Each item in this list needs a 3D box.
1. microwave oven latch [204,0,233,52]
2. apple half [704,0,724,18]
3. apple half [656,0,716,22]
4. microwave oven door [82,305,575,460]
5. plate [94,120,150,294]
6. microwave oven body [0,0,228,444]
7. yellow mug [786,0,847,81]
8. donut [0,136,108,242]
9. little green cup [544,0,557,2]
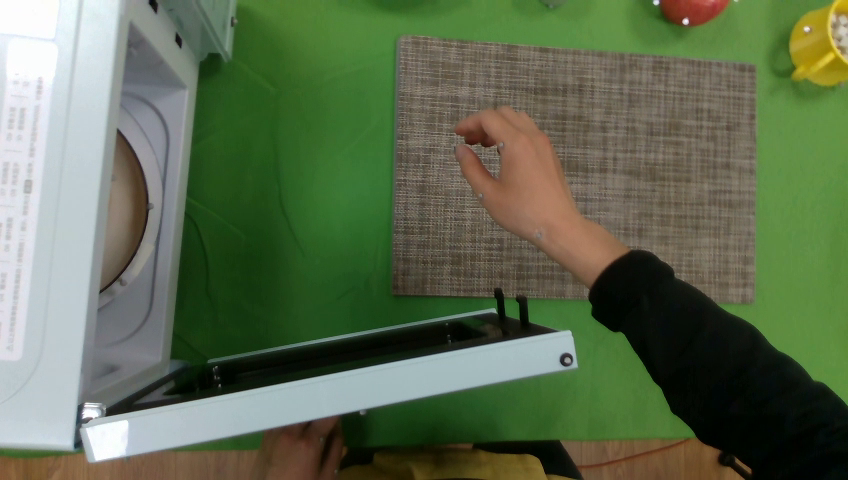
[{"bbox_3d":[-0.219,-0.244,0.642,0.030,0.029,0.079,7,88,-8],"label":"microwave oven latch"},{"bbox_3d":[0.343,-0.304,0.722,0.033,0.081,0.081,-7,88,-3],"label":"apple half"},{"bbox_3d":[0.304,-0.299,0.718,0.053,0.074,0.081,-6,92,-3],"label":"apple half"},{"bbox_3d":[-0.073,0.113,0.550,0.356,0.243,0.039,-9,88,-8],"label":"microwave oven door"},{"bbox_3d":[-0.366,-0.036,0.571,0.209,0.038,0.209,0,88,-8],"label":"plate"},{"bbox_3d":[-0.367,-0.084,0.520,0.327,0.260,0.441,5,88,-8],"label":"microwave oven body"},{"bbox_3d":[0.504,-0.245,0.746,0.131,0.064,0.100,-40,94,-6],"label":"yellow mug"},{"bbox_3d":[-0.347,-0.046,0.564,0.099,0.048,0.099,0,91,-8],"label":"donut"},{"bbox_3d":[0.153,-0.314,0.714,0.062,0.038,0.061,0,88,-7],"label":"little green cup"}]
